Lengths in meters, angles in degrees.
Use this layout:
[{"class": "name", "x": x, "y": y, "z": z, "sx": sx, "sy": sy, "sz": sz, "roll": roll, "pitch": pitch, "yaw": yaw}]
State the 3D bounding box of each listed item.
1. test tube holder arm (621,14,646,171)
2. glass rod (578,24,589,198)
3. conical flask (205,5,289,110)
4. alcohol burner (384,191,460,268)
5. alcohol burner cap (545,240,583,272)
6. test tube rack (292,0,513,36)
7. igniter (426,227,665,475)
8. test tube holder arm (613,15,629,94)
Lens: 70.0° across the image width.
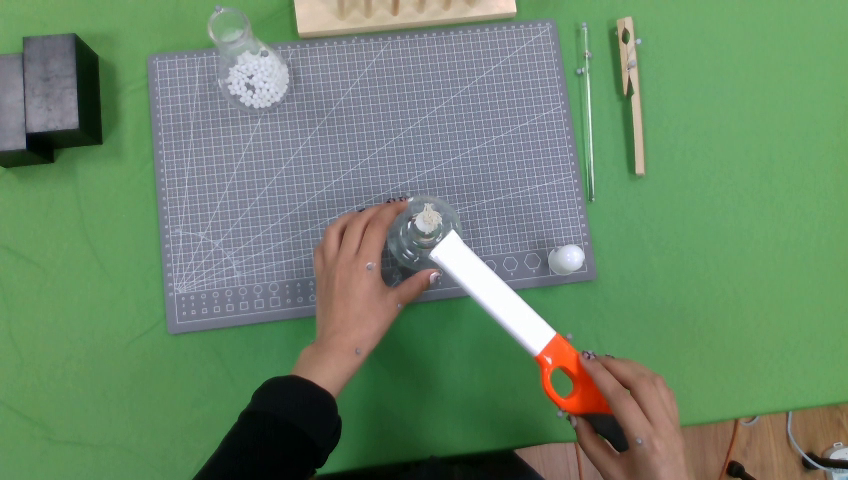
[{"class": "test tube holder arm", "x": 0.233, "y": -0.165, "z": 0.677, "sx": 0.013, "sy": 0.015, "sz": 0.178, "roll": -9, "pitch": 83, "yaw": 30}, {"class": "glass rod", "x": 0.178, "y": -0.145, "z": 0.676, "sx": 0.008, "sy": 0.008, "sz": 0.199, "roll": 0, "pitch": 85, "yaw": -4}, {"class": "conical flask", "x": -0.179, "y": -0.183, "z": 0.595, "sx": 0.075, "sy": 0.122, "sz": 0.075, "roll": 1, "pitch": 82, "yaw": -4}, {"class": "alcohol burner", "x": -0.002, "y": -0.014, "z": 0.591, "sx": 0.078, "sy": 0.119, "sz": 0.077, "roll": 0, "pitch": 81, "yaw": -2}, {"class": "alcohol burner cap", "x": 0.149, "y": 0.015, "z": 0.634, "sx": 0.034, "sy": 0.048, "sz": 0.033, "roll": 1, "pitch": 81, "yaw": -4}, {"class": "test tube rack", "x": -0.022, "y": -0.279, "z": 0.641, "sx": 0.242, "sy": 0.085, "sz": 0.066, "roll": -8, "pitch": 83, "yaw": -5}, {"class": "igniter", "x": 0.109, "y": 0.097, "z": 0.527, "sx": 0.276, "sy": 0.025, "sz": 0.057, "roll": 45, "pitch": 76, "yaw": -1}, {"class": "test tube holder arm", "x": 0.224, "y": -0.209, "z": 0.685, "sx": 0.010, "sy": 0.015, "sz": 0.087, "roll": -8, "pitch": 83, "yaw": 30}]
